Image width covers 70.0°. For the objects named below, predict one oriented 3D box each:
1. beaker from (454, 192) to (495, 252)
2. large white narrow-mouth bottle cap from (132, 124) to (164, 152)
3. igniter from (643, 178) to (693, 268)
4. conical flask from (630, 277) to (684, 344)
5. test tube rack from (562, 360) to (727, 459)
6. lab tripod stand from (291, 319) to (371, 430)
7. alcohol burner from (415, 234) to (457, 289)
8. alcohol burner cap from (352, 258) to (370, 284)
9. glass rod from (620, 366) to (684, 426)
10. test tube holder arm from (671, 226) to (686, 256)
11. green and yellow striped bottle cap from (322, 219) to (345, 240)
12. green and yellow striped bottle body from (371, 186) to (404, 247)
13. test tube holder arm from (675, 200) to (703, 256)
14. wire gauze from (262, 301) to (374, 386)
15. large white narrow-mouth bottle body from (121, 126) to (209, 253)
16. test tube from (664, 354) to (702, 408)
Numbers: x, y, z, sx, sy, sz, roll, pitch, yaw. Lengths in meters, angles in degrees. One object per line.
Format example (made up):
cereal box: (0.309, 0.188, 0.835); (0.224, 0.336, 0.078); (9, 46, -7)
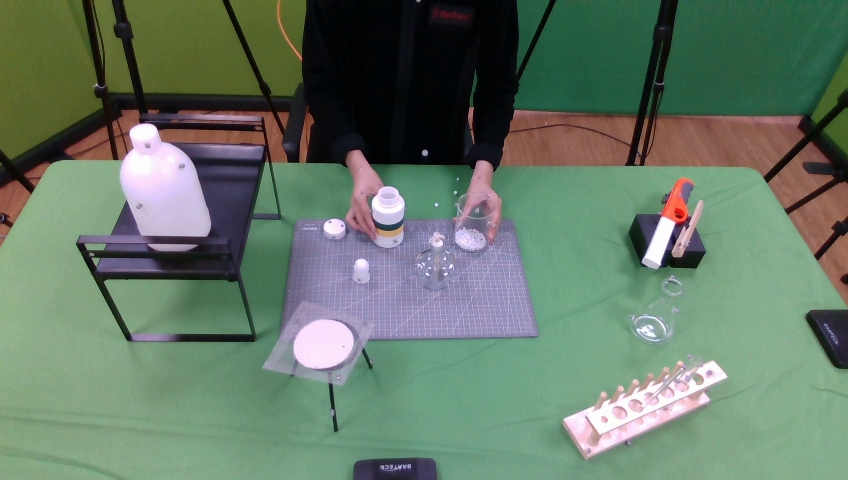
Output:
beaker: (0.097, -0.034, 1.180); (0.074, 0.101, 0.084); (22, 48, 16)
large white narrow-mouth bottle cap: (-0.371, -0.137, 0.813); (0.038, 0.024, 0.037); (3, 46, -3)
igniter: (0.488, -0.042, 1.205); (0.057, 0.025, 0.276); (30, 51, 11)
conical flask: (0.408, 0.117, 1.045); (0.075, 0.122, 0.075); (2, 46, -2)
test tube rack: (0.341, 0.247, 0.940); (0.243, 0.085, 0.066); (-16, 49, -18)
lab tripod stand: (-0.146, 0.193, 0.923); (0.148, 0.132, 0.147); (1, 47, -1)
alcohol burner: (0.022, 0.033, 1.099); (0.078, 0.120, 0.077); (1, 47, -1)
alcohol burner cap: (-0.117, 0.055, 1.118); (0.034, 0.048, 0.033); (1, 46, -1)
glass rod: (0.322, 0.227, 0.866); (0.008, 0.200, 0.008); (5, 51, -7)
test tube holder arm: (0.494, 0.001, 1.167); (0.010, 0.015, 0.087); (1, 36, 42)
green and yellow striped bottle cap: (-0.180, -0.021, 1.206); (0.045, 0.020, 0.045); (2, 44, -2)
green and yellow striped bottle body: (-0.071, -0.047, 1.165); (0.063, 0.120, 0.063); (2, 46, -2)
test tube holder arm: (0.523, -0.025, 1.190); (0.013, 0.015, 0.178); (0, 36, 42)
wire gauze: (-0.150, 0.148, 0.873); (0.121, 0.011, 0.124); (14, 46, 12)
large white narrow-mouth bottle body: (-0.378, -0.077, 0.875); (0.102, 0.195, 0.101); (3, 46, -3)
test tube: (0.385, 0.215, 0.906); (0.017, 0.151, 0.017); (-1, 49, 1)
